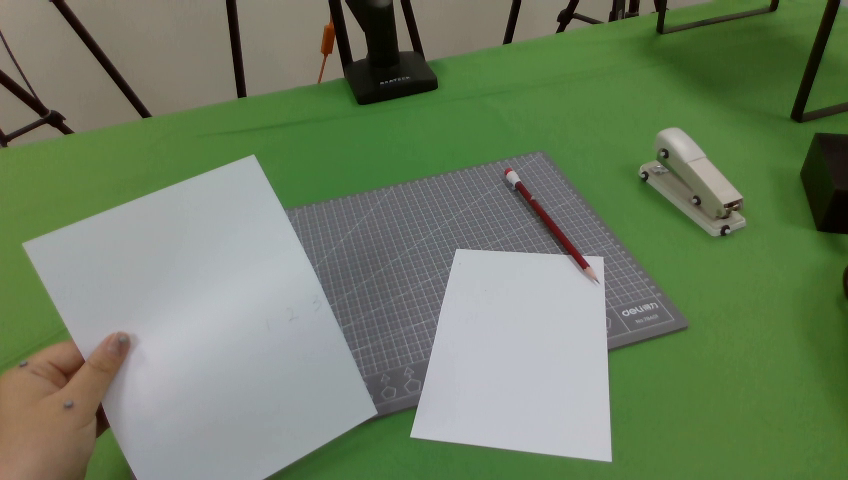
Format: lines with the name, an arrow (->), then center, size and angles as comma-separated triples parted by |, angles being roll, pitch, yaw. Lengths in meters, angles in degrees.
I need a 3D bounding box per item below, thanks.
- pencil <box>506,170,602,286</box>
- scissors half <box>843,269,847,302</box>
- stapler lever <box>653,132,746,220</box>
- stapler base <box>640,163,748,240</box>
pencil -> 0.128, -0.017, 0.615 | 0.012, 0.012, 0.191 | -17, 43, -12
scissors half -> 0.391, -0.007, 0.520 | 0.040, 0.013, 0.174 | 17, 69, 18
stapler lever -> 0.275, -0.068, 0.610 | 0.027, 0.040, 0.116 | -19, 43, -11
stapler base -> 0.277, -0.050, 0.628 | 0.041, 0.025, 0.129 | -19, 43, -11
